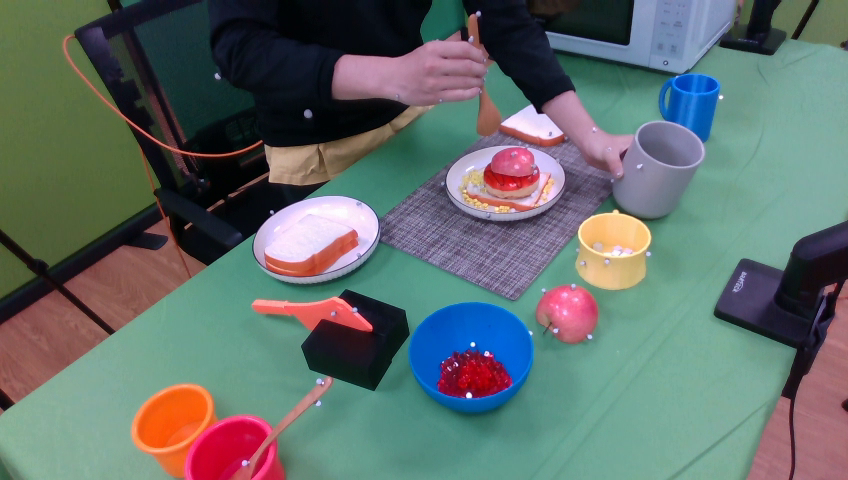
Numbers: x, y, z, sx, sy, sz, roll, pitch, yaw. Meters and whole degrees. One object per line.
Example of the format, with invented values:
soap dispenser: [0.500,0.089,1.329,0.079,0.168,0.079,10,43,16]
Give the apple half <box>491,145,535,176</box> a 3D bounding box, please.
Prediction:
apple half: [0.147,-0.138,0.993,0.081,0.033,0.081,0,37,0]

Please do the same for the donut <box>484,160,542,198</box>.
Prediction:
donut: [0.149,-0.110,1.015,0.099,0.048,0.098,-4,41,4]

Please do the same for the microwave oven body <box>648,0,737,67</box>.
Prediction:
microwave oven body: [0.475,-0.602,1.411,0.438,0.261,0.327,23,50,32]

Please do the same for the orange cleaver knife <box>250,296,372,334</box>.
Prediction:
orange cleaver knife: [-0.158,0.103,0.828,0.210,0.078,0.012,-4,43,39]

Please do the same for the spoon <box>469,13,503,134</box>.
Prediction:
spoon: [0.080,-0.223,0.835,0.042,0.195,0.021,-24,45,-5]

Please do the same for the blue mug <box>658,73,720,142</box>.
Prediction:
blue mug: [0.483,-0.250,1.127,0.082,0.106,0.115,-26,44,-19]

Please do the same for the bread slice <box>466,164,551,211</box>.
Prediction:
bread slice: [0.141,-0.091,1.045,0.134,0.018,0.107,11,44,18]

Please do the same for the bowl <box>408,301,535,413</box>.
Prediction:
bowl: [0.060,0.156,0.739,0.151,0.077,0.150,-4,40,4]

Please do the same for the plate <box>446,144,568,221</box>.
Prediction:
plate: [0.143,-0.096,1.045,0.207,0.039,0.206,-4,40,4]

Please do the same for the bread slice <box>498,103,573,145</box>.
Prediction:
bread slice: [0.231,-0.231,1.205,0.105,0.019,0.130,-37,48,-28]

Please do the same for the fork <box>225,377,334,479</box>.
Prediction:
fork: [-0.163,0.216,0.646,0.207,0.019,0.028,-49,42,16]

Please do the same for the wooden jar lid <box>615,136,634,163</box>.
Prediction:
wooden jar lid: [0.398,-0.151,1.086,0.108,0.021,0.108,-2,42,2]

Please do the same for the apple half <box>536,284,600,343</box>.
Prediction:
apple half: [0.196,0.091,0.815,0.075,0.053,0.080,-22,42,-20]

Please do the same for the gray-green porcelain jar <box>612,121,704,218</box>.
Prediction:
gray-green porcelain jar: [0.362,-0.106,0.951,0.106,0.127,0.105,4,52,-4]

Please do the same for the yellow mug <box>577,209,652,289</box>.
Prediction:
yellow mug: [0.279,0.004,0.893,0.099,0.064,0.130,5,42,15]

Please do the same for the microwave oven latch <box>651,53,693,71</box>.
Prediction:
microwave oven latch: [0.532,-0.387,1.301,0.078,0.029,0.030,27,52,34]

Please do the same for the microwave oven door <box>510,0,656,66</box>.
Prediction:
microwave oven door: [0.350,-0.539,1.348,0.353,0.245,0.039,24,50,31]

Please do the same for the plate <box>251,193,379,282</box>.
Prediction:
plate: [-0.174,-0.001,0.984,0.209,0.038,0.208,-4,40,4]
